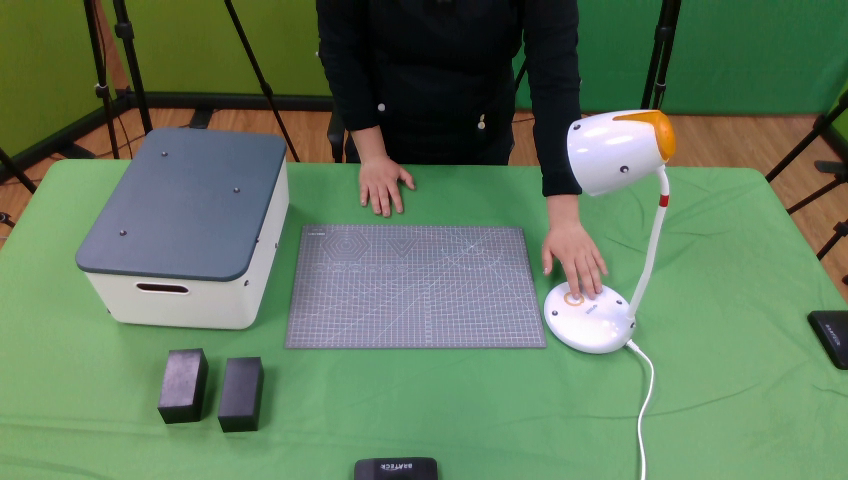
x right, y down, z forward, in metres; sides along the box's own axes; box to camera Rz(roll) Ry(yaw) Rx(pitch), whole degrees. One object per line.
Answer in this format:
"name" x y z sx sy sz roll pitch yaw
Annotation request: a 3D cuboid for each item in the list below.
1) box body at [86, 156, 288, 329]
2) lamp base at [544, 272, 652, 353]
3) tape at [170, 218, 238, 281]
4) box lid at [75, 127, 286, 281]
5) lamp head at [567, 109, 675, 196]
"box body" -0.401 -0.025 1.094 0.254 0.161 0.362 3 46 -1
"lamp base" 0.309 0.086 1.029 0.178 0.181 0.160 32 52 21
"tape" -0.406 0.017 1.121 0.117 0.053 0.116 2 46 -2
"box lid" -0.398 -0.075 1.039 0.263 0.015 0.369 4 45 -1
"lamp head" 0.272 -0.123 0.818 0.122 0.113 0.112 -9 35 37
